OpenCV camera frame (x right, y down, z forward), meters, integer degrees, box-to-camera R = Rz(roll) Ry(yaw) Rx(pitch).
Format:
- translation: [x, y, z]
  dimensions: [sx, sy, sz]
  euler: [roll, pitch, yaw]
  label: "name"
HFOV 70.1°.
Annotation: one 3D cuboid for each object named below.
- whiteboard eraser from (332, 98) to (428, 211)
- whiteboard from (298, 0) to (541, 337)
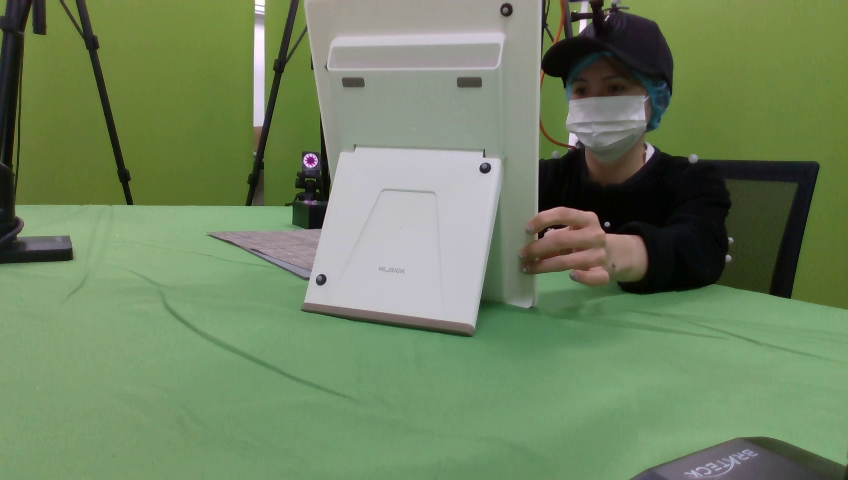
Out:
- translation: [-0.048, -0.085, 0.617]
  dimensions: [0.055, 0.112, 0.042]
  euler: [38, 31, 0]
  label: "whiteboard eraser"
- translation: [-0.021, -0.050, 0.523]
  dimensions: [0.216, 0.305, 0.144]
  euler: [6, 27, 20]
  label: "whiteboard"
